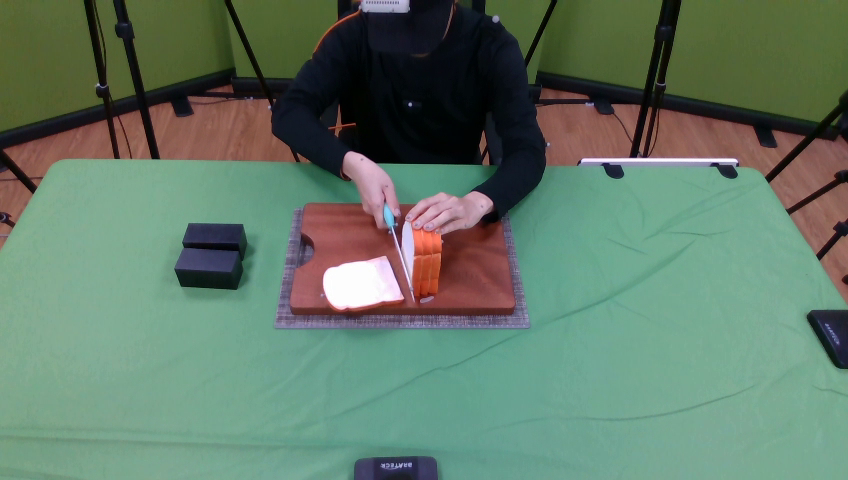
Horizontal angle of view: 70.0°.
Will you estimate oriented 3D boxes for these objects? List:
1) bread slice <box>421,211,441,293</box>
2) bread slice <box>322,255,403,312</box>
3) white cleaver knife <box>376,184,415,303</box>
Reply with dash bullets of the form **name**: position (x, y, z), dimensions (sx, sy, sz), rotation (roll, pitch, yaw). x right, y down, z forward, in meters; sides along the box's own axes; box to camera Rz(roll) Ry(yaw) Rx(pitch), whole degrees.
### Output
- **bread slice**: position (0.012, 0.016, 1.065), dimensions (0.018, 0.135, 0.106), rotation (-1, 51, -8)
- **bread slice**: position (-0.114, 0.080, 1.068), dimensions (0.132, 0.019, 0.104), rotation (-10, 51, -18)
- **white cleaver knife**: position (-0.055, -0.001, 1.120), dimensions (0.021, 0.066, 0.284), rotation (-13, 46, -4)
